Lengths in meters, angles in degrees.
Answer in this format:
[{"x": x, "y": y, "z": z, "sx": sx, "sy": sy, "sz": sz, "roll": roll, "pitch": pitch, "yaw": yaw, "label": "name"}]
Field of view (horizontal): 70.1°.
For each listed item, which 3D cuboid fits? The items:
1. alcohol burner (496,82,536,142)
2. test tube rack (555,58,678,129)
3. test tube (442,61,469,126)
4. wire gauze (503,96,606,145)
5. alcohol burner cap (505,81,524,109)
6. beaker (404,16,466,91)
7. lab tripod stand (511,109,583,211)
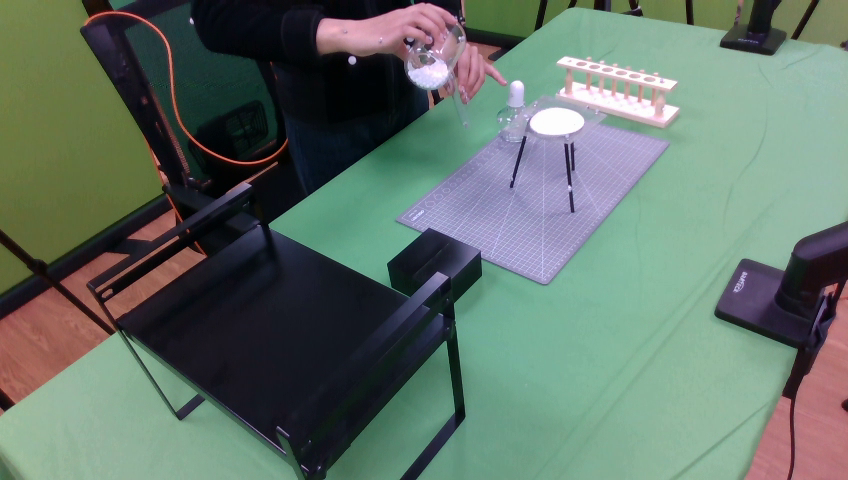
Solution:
[{"x": 0.178, "y": -0.250, "z": 1.168, "sx": 0.078, "sy": 0.119, "sz": 0.077, "roll": -5, "pitch": 42, "yaw": 5, "label": "alcohol burner"}, {"x": 0.390, "y": -0.307, "z": 1.229, "sx": 0.240, "sy": 0.085, "sz": 0.067, "roll": 26, "pitch": 50, "yaw": 33, "label": "test tube rack"}, {"x": 0.055, "y": -0.247, "z": 1.034, "sx": 0.017, "sy": 0.151, "sz": 0.017, "roll": -8, "pitch": 58, "yaw": 13, "label": "test tube"}, {"x": 0.211, "y": -0.192, "z": 0.975, "sx": 0.120, "sy": 0.011, "sz": 0.125, "roll": 24, "pitch": 49, "yaw": 32, "label": "wire gauze"}, {"x": 0.173, "y": -0.277, "z": 1.145, "sx": 0.034, "sy": 0.048, "sz": 0.033, "roll": 1, "pitch": 40, "yaw": -1, "label": "alcohol burner cap"}, {"x": 0.016, "y": -0.278, "z": 0.915, "sx": 0.073, "sy": 0.084, "sz": 0.100, "roll": 7, "pitch": 47, "yaw": 17, "label": "beaker"}, {"x": 0.220, "y": -0.138, "z": 1.014, "sx": 0.148, "sy": 0.132, "sz": 0.147, "roll": -3, "pitch": 41, "yaw": 3, "label": "lab tripod stand"}]
